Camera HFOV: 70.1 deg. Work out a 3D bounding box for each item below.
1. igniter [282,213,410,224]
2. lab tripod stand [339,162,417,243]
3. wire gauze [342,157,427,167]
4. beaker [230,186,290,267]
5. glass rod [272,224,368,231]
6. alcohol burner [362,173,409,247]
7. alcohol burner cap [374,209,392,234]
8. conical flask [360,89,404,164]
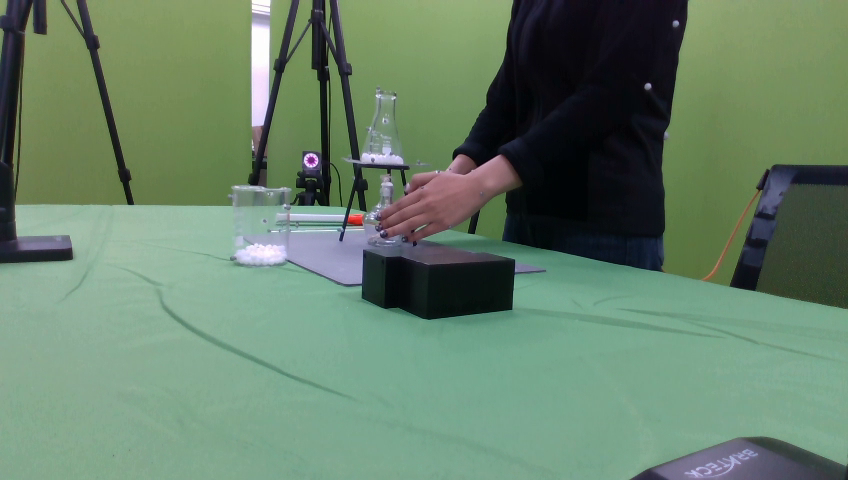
[{"bbox_3d":[-0.159,-0.046,1.287,0.278,0.025,0.057,-1,-2,-21],"label":"igniter"},{"bbox_3d":[-0.067,-0.065,1.028,0.148,0.131,0.148,4,7,0],"label":"lab tripod stand"},{"bbox_3d":[-0.065,-0.130,1.016,0.122,0.011,0.124,1,5,-27],"label":"wire gauze"},{"bbox_3d":[-0.209,-0.019,0.778,0.074,0.100,0.084,3,6,4],"label":"beaker"},{"bbox_3d":[-0.197,-0.024,1.170,0.201,0.008,0.008,-3,9,-34],"label":"glass rod"},{"bbox_3d":[-0.061,-0.049,0.983,0.078,0.119,0.078,4,9,0],"label":"alcohol burner"},{"bbox_3d":[-0.078,-0.036,1.148,0.034,0.048,0.034,2,7,0],"label":"alcohol burner cap"},{"bbox_3d":[-0.067,-0.189,1.010,0.075,0.122,0.075,4,6,0],"label":"conical flask"}]
